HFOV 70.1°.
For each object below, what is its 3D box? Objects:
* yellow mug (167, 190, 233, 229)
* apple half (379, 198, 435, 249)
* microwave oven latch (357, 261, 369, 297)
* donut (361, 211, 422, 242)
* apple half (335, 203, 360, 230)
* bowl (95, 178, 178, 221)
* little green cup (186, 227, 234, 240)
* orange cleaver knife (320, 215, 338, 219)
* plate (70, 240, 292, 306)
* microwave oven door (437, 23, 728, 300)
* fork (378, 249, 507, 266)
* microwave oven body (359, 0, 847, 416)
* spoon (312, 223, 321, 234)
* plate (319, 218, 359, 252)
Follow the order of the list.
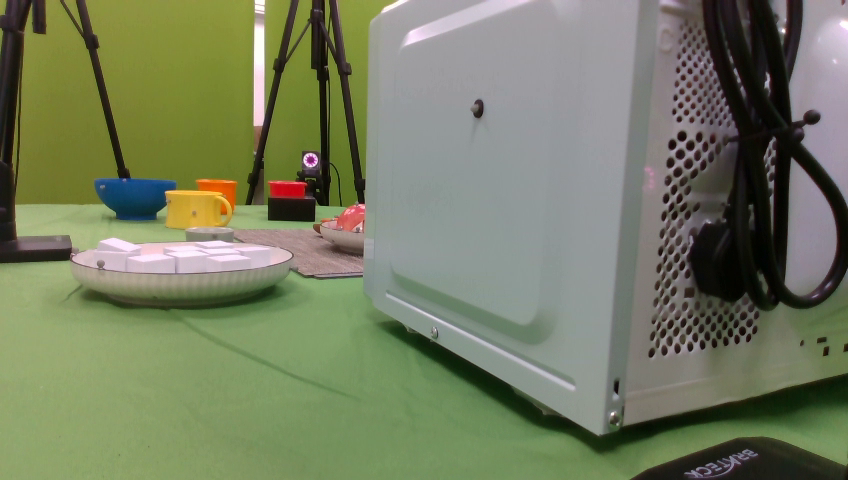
[{"bbox_3d":[-0.415,-0.057,1.132,0.130,0.064,0.100,6,8,16],"label":"yellow mug"},{"bbox_3d":[-0.020,-0.030,0.891,0.081,0.053,0.074,-2,49,-26],"label":"apple half"},{"bbox_3d":[-0.019,0.033,0.531,0.079,0.029,0.030,-1,7,-27],"label":"microwave oven latch"},{"bbox_3d":[-0.051,-0.020,0.958,0.099,0.048,0.099,5,7,0],"label":"donut"},{"bbox_3d":[-0.116,-0.038,0.960,0.081,0.033,0.081,-37,8,7],"label":"apple half"},{"bbox_3d":[-0.576,-0.081,1.217,0.151,0.077,0.151,4,8,0],"label":"bowl"},{"bbox_3d":[-0.284,0.005,0.805,0.061,0.038,0.061,2,8,0],"label":"little green cup"},{"bbox_3d":[-0.142,-0.057,1.394,0.077,0.012,0.212,2,6,44],"label":"orange cleaver knife"},{"bbox_3d":[-0.242,0.032,0.618,0.208,0.039,0.207,2,8,0],"label":"plate"},{"bbox_3d":[0.181,-0.072,0.621,0.358,0.243,0.039,-2,8,-29],"label":"microwave oven door"},{"bbox_3d":[0.031,0.022,0.819,0.208,0.018,0.028,-5,5,-33],"label":"fork"},{"bbox_3d":[0.211,-0.047,0.474,0.444,0.260,0.324,-1,7,-28],"label":"microwave oven body"},{"bbox_3d":[-0.112,-0.022,1.095,0.195,0.021,0.041,-4,-13,-37],"label":"spoon"},{"bbox_3d":[-0.059,-0.007,0.939,0.209,0.038,0.209,3,8,0],"label":"plate"}]
